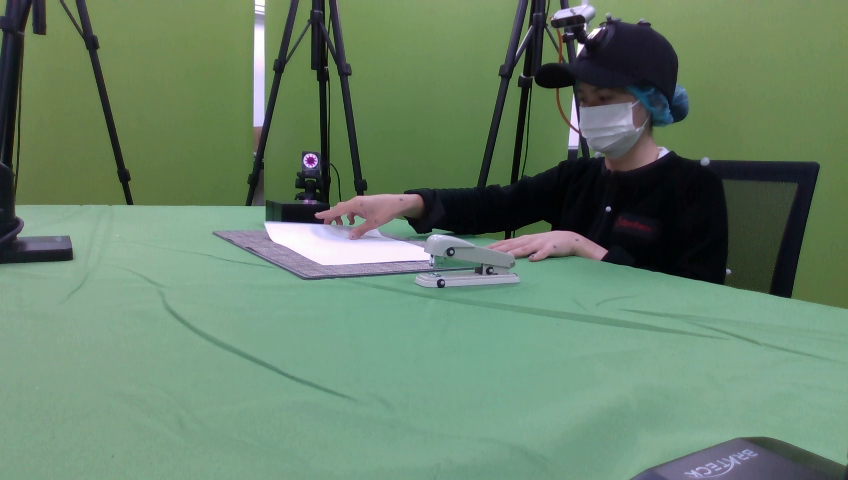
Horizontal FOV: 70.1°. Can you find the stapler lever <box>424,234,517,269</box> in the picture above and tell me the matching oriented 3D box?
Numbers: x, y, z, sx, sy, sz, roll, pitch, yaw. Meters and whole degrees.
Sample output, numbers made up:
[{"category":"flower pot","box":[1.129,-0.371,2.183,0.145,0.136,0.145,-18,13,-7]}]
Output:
[{"category":"stapler lever","box":[0.056,0.015,0.714,0.119,0.040,0.026,1,9,-27]}]

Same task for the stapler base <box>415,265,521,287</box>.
[{"category":"stapler base","box":[0.053,0.040,0.716,0.131,0.024,0.041,1,9,-27]}]
